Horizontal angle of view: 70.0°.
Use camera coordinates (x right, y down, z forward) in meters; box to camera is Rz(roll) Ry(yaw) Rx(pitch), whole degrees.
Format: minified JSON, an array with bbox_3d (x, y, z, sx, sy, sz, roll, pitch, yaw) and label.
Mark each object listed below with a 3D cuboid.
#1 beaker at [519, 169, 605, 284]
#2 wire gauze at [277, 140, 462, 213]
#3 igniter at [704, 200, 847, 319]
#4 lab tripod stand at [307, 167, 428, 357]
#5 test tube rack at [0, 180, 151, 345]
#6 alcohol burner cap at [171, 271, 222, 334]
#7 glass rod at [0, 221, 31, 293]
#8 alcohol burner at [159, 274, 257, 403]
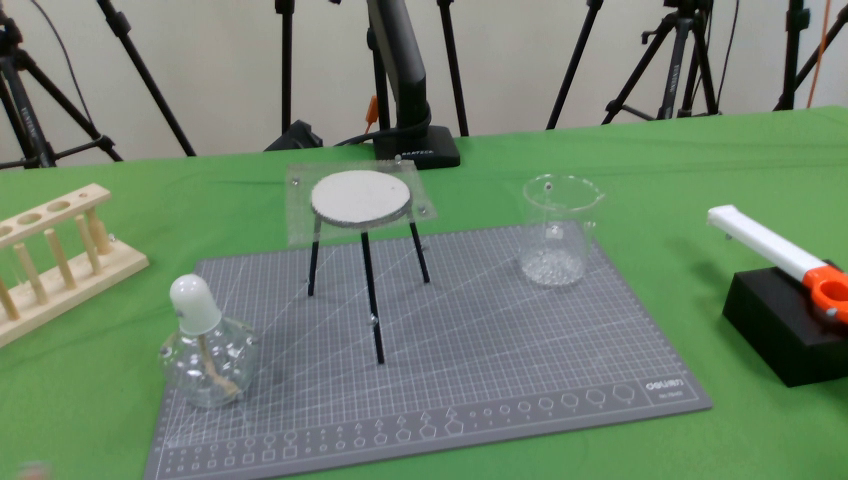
[{"bbox_3d":[0.138,-0.012,0.621,0.084,0.101,0.073,-2,35,-1],"label":"beaker"},{"bbox_3d":[-0.048,-0.054,0.511,0.125,0.011,0.120,-13,32,-29],"label":"wire gauze"},{"bbox_3d":[0.353,0.033,0.535,0.057,0.025,0.273,-11,33,-14],"label":"igniter"},{"bbox_3d":[-0.052,0.013,0.562,0.148,0.132,0.147,1,36,0],"label":"lab tripod stand"},{"bbox_3d":[-0.403,0.036,0.587,0.066,0.086,0.242,22,41,30],"label":"test tube rack"},{"bbox_3d":[-0.180,0.046,0.472,0.034,0.048,0.033,-1,39,1],"label":"alcohol burner cap"},{"bbox_3d":[-0.400,-0.026,0.559,0.008,0.201,0.008,3,36,-2],"label":"glass rod"},{"bbox_3d":[-0.178,0.075,0.493,0.078,0.120,0.077,1,34,0],"label":"alcohol burner"}]
